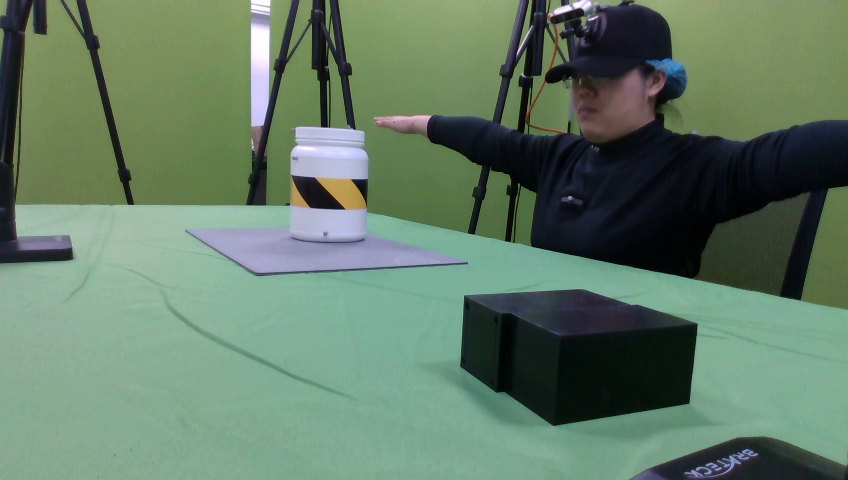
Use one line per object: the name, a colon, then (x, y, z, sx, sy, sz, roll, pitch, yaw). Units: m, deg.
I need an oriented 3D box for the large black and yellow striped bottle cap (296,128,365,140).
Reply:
large black and yellow striped bottle cap: (-0.156, -0.177, 1.014, 0.115, 0.019, 0.115, 1, 7, 0)

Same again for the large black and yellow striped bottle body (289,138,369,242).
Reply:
large black and yellow striped bottle body: (-0.161, -0.094, 1.026, 0.131, 0.184, 0.130, 3, 8, 0)
